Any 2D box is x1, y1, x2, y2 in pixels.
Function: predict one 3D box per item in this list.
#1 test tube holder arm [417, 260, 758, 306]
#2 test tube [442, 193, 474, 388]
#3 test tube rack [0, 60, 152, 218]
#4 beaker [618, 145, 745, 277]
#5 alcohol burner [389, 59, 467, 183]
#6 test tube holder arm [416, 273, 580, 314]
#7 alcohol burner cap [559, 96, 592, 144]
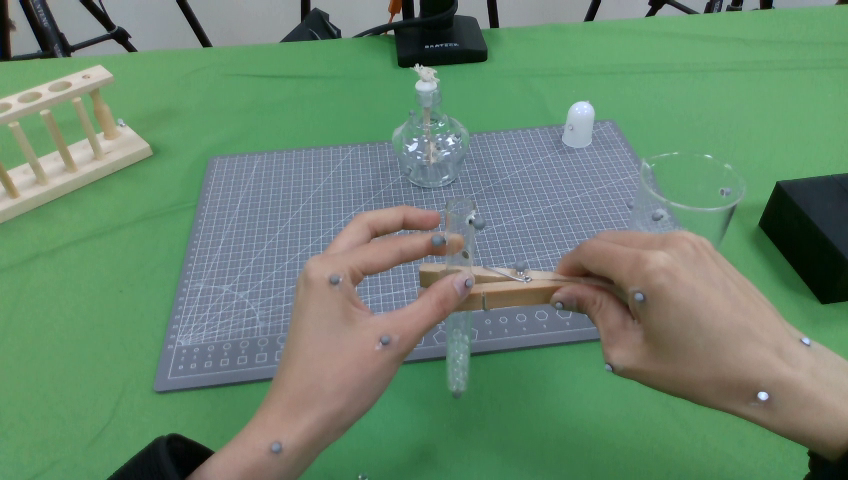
[{"bbox_3d":[0.085,0.023,0.329,0.178,0.015,0.013,2,47,8],"label":"test tube holder arm"},{"bbox_3d":[0.019,0.037,0.346,0.017,0.151,0.017,-1,41,1],"label":"test tube"},{"bbox_3d":[-0.408,-0.085,0.593,0.242,0.086,0.066,-34,52,-29],"label":"test tube rack"},{"bbox_3d":[0.196,-0.015,0.483,0.074,0.101,0.083,-27,48,-24],"label":"beaker"},{"bbox_3d":[0.003,-0.116,0.585,0.078,0.120,0.077,-2,42,2],"label":"alcohol burner"},{"bbox_3d":[0.040,0.028,0.329,0.088,0.015,0.010,-7,46,-1],"label":"test tube holder arm"},{"bbox_3d":[0.163,-0.131,0.647,0.034,0.048,0.033,-1,44,1],"label":"alcohol burner cap"}]
